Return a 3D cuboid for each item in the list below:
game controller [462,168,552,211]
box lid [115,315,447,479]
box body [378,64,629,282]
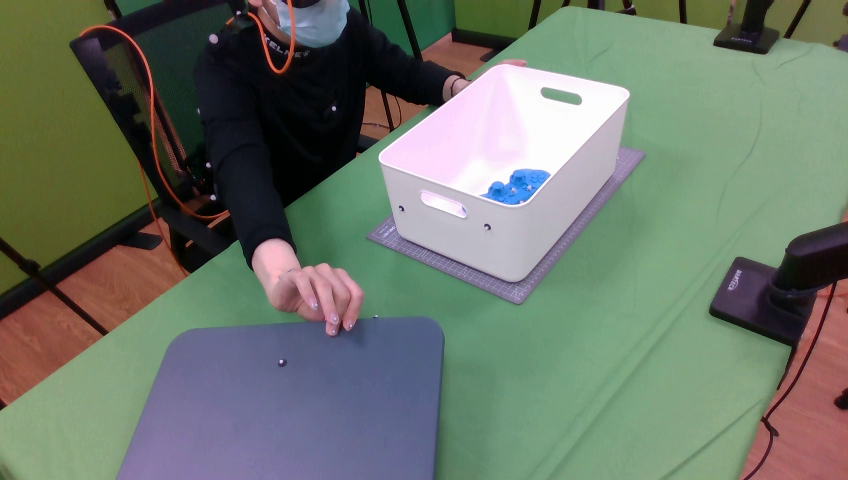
[{"bbox_3d":[0.147,-0.079,1.007,0.156,0.052,0.096,-29,50,-24],"label":"game controller"},{"bbox_3d":[-0.159,0.206,0.686,0.371,0.015,0.262,-5,49,11],"label":"box lid"},{"bbox_3d":[0.137,-0.121,0.978,0.252,0.161,0.365,22,48,30],"label":"box body"}]
